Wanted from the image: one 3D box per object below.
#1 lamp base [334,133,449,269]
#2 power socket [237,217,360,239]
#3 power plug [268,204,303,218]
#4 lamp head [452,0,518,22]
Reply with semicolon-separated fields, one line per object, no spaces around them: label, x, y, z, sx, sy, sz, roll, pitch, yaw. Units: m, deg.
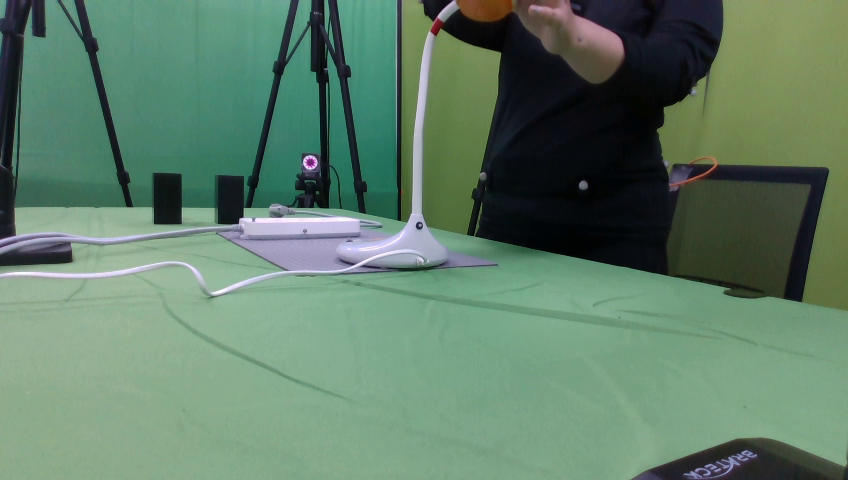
lamp base;-0.034;-0.057;0.831;0.161;0.180;0.178;-2;11;-36
power socket;-0.221;-0.023;1.080;0.228;0.032;0.072;-2;8;-33
power plug;-0.327;-0.060;1.404;0.073;0.035;0.052;22;-14;-26
lamp head;0.071;-0.319;0.706;0.112;0.122;0.112;7;-2;1
